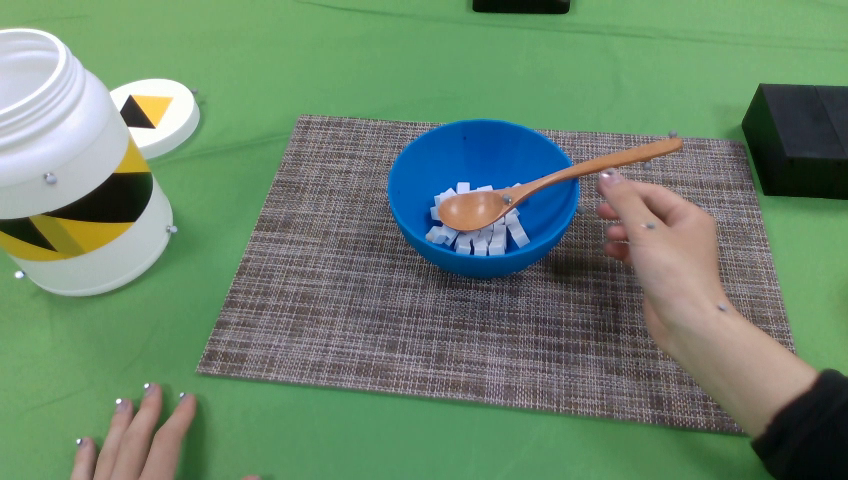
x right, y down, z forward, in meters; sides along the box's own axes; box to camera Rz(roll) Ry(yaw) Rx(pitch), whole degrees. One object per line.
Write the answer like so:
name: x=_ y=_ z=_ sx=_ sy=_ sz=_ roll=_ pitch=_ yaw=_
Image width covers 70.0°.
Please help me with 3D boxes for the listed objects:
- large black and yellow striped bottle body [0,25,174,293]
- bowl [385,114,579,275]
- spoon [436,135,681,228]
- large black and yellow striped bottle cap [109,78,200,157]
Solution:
large black and yellow striped bottle body: x=-0.293 y=-0.058 z=0.479 sx=0.131 sy=0.185 sz=0.129 roll=-1 pitch=52 yaw=2
bowl: x=0.046 y=-0.024 z=0.500 sx=0.151 sy=0.077 sz=0.150 roll=-1 pitch=53 yaw=2
spoon: x=0.103 y=-0.048 z=0.472 sx=0.193 sy=0.022 sz=0.041 roll=-19 pitch=48 yaw=12
large black and yellow striped bottle cap: x=-0.299 y=-0.131 z=0.642 sx=0.115 sy=0.019 sz=0.114 roll=0 pitch=52 yaw=1
